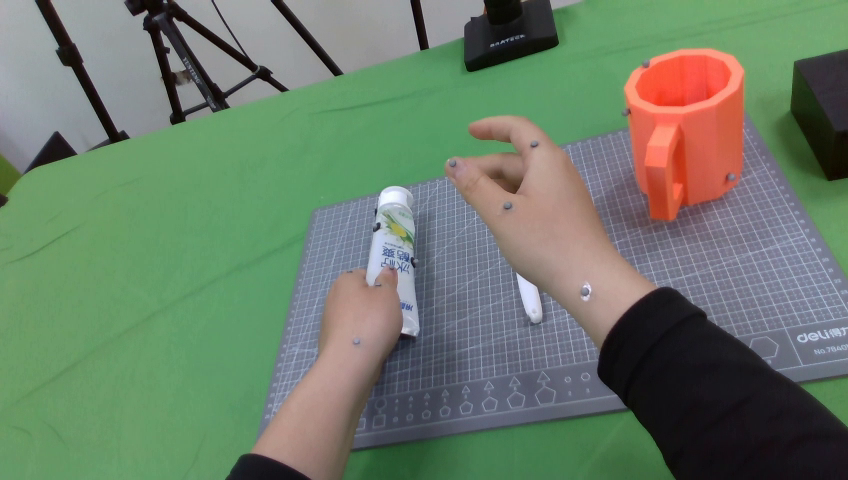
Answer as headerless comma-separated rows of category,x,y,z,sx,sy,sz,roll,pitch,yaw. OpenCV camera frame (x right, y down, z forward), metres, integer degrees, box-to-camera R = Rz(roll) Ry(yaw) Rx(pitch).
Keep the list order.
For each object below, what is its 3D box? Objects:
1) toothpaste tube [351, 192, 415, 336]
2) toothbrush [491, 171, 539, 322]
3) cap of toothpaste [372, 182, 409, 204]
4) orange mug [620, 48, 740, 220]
toothpaste tube,-0.034,0.013,0.546,0.055,0.035,0.163,11,45,-13
toothbrush,0.079,-0.002,0.534,0.014,0.017,0.180,-7,45,1
cap of toothpaste,-0.033,-0.042,0.600,0.037,0.038,0.011,-11,45,15
orange mug,0.204,-0.080,0.490,0.083,0.102,0.125,10,49,34
